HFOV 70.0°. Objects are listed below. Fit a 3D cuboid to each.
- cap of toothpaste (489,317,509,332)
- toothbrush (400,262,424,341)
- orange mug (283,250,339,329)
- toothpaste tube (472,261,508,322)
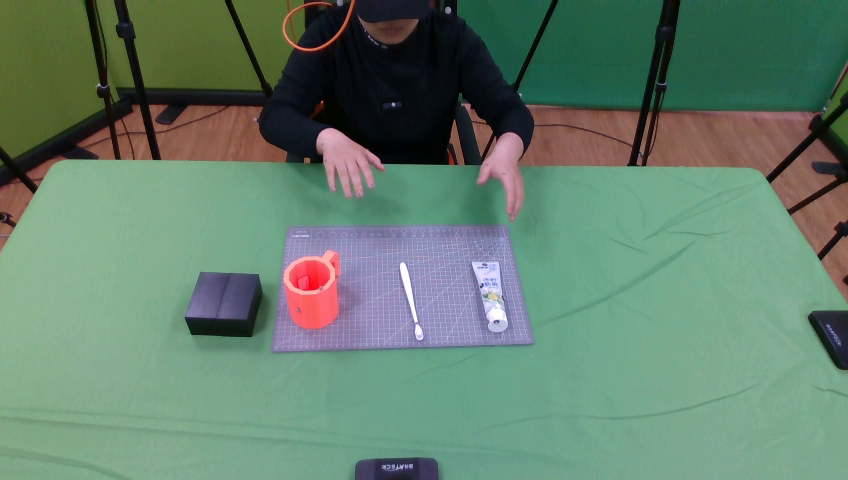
[{"bbox_3d":[0.130,0.146,1.050,0.037,0.037,0.011,-2,42,-5],"label":"cap of toothpaste"},{"bbox_3d":[-0.025,0.106,1.093,0.014,0.017,0.180,-18,46,2],"label":"toothbrush"},{"bbox_3d":[-0.186,0.078,1.052,0.083,0.101,0.126,20,52,15],"label":"orange mug"},{"bbox_3d":[0.126,0.094,1.109,0.055,0.034,0.164,3,41,-9],"label":"toothpaste tube"}]
